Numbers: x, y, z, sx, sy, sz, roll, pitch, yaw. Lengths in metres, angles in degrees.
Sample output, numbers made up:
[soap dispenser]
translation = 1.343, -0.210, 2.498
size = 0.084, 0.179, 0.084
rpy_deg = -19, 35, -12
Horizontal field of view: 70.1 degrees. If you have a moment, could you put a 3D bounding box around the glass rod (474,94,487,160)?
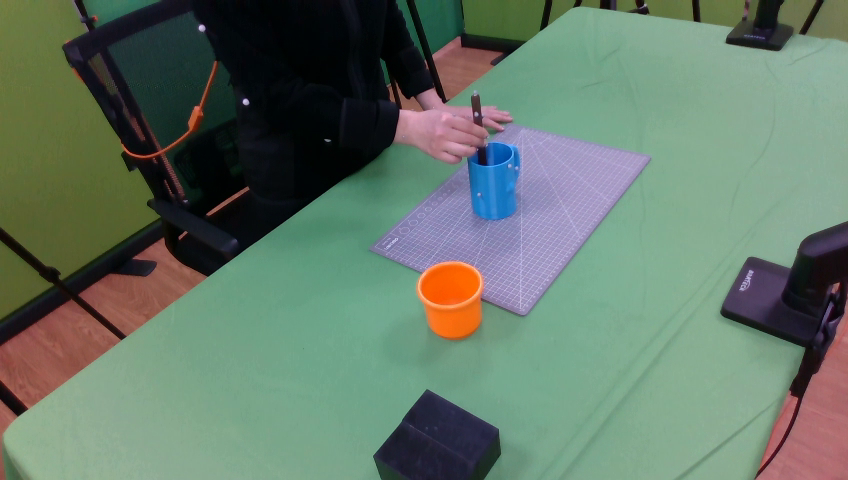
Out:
[glass rod]
translation = 0.095, -0.164, 0.983
size = 0.008, 0.201, 0.008
rpy_deg = -5, 57, 9

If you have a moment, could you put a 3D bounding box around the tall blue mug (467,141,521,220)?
[tall blue mug]
translation = 0.119, -0.109, 1.020
size = 0.077, 0.108, 0.107
rpy_deg = 3, 42, 15
